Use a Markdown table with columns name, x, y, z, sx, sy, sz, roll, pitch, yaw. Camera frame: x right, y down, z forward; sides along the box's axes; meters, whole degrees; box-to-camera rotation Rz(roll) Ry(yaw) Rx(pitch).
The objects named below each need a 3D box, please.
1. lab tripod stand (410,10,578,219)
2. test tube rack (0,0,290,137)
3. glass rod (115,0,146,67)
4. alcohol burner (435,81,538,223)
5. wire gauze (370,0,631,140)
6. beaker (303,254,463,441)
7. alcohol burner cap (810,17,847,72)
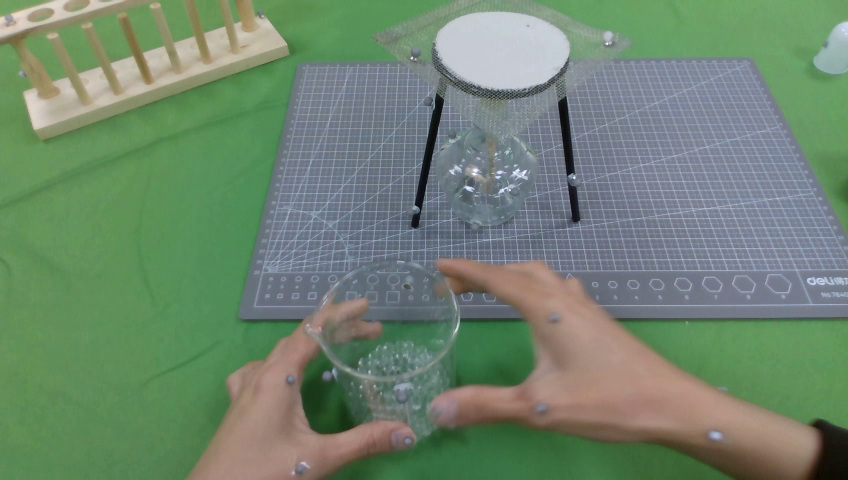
| name | x | y | z | sx | sy | sz | roll | pitch | yaw |
| --- | --- | --- | --- | --- | --- | --- | --- | --- | --- |
| lab tripod stand | 0.054 | -0.085 | 0.443 | 0.148 | 0.132 | 0.147 | 0 | 51 | 0 |
| test tube rack | -0.259 | -0.190 | 0.568 | 0.242 | 0.086 | 0.066 | -25 | 55 | -17 |
| glass rod | -0.270 | -0.231 | 0.516 | 0.008 | 0.201 | 0.008 | 3 | 52 | -3 |
| alcohol burner | 0.047 | -0.068 | 0.443 | 0.078 | 0.120 | 0.077 | 0 | 54 | 0 |
| wire gauze | 0.048 | -0.125 | 0.389 | 0.121 | 0.011 | 0.124 | -35 | 59 | -24 |
| beaker | -0.020 | 0.068 | 0.351 | 0.084 | 0.101 | 0.073 | -5 | 52 | -2 |
| alcohol burner cap | 0.397 | -0.189 | 0.578 | 0.034 | 0.048 | 0.033 | 0 | 51 | 1 |
